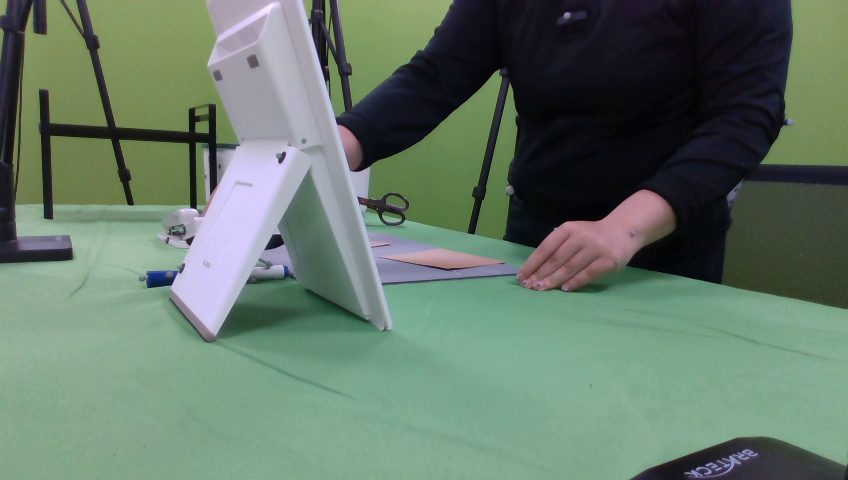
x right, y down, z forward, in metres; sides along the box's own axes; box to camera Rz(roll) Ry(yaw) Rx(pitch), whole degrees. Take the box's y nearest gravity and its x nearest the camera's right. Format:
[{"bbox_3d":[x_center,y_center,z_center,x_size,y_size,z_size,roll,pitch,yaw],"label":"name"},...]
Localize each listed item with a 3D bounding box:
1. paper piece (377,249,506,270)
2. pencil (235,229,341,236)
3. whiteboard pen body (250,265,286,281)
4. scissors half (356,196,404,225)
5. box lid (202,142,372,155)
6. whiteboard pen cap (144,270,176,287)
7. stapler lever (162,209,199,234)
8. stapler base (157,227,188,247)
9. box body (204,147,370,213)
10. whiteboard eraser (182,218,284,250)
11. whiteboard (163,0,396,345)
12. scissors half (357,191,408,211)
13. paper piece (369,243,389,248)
[{"bbox_3d":[0.025,0.027,0.865,0.134,0.004,0.136,10,10,43],"label":"paper piece"},{"bbox_3d":[-0.232,-0.012,1.053,0.195,0.012,0.012,0,8,-36],"label":"pencil"},{"bbox_3d":[-0.220,0.039,0.656,0.141,0.017,0.017,-3,9,-29],"label":"whiteboard pen body"},{"bbox_3d":[-0.127,-0.072,1.321,0.175,0.040,0.013,22,5,-5],"label":"scissors half"},{"bbox_3d":[-0.344,-0.225,1.509,0.373,0.015,0.262,-2,8,-31],"label":"box lid"},{"bbox_3d":[-0.271,0.039,0.627,0.033,0.018,0.018,-5,10,-32],"label":"whiteboard pen cap"},{"bbox_3d":[-0.376,-0.031,0.933,0.027,0.040,0.117,0,7,-38],"label":"stapler lever"},{"bbox_3d":[-0.376,-0.007,0.934,0.041,0.024,0.130,0,5,-38],"label":"stapler base"},{"bbox_3d":[-0.346,-0.152,1.519,0.366,0.160,0.253,-1,9,-31],"label":"box body"},{"bbox_3d":[-0.227,-0.006,0.728,0.113,0.042,0.055,-1,-2,-36],"label":"whiteboard eraser"},{"bbox_3d":[-0.173,-0.053,0.510,0.144,0.305,0.216,-23,19,-26],"label":"whiteboard"},{"bbox_3d":[-0.122,-0.091,1.318,0.175,0.040,0.013,5,12,-3],"label":"scissors half"},{"bbox_3d":[-0.151,0.003,0.978,0.135,0.008,0.139,14,10,34],"label":"paper piece"}]
